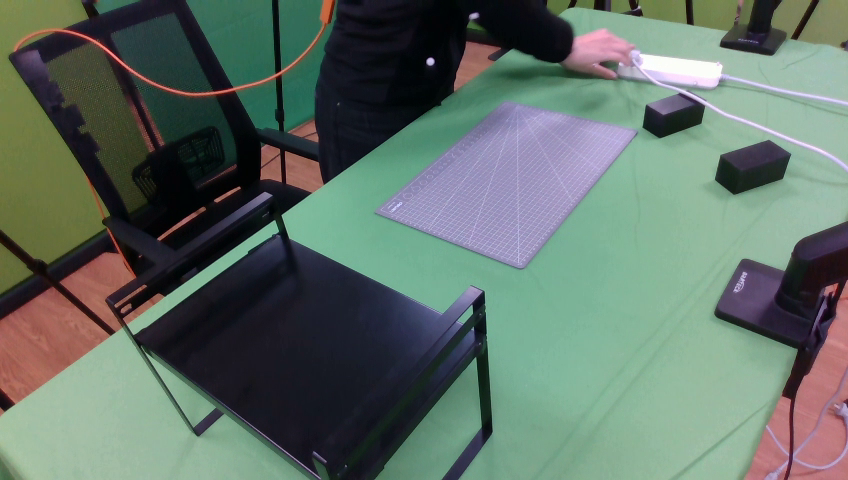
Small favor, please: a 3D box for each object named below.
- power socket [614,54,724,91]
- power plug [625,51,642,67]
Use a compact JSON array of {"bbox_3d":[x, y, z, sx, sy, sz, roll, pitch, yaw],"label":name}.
[{"bbox_3d":[0.530,-0.367,1.316,0.225,0.033,0.072,17,47,25],"label":"power socket"},{"bbox_3d":[0.449,-0.381,1.316,0.035,0.053,0.073,26,53,33],"label":"power plug"}]
